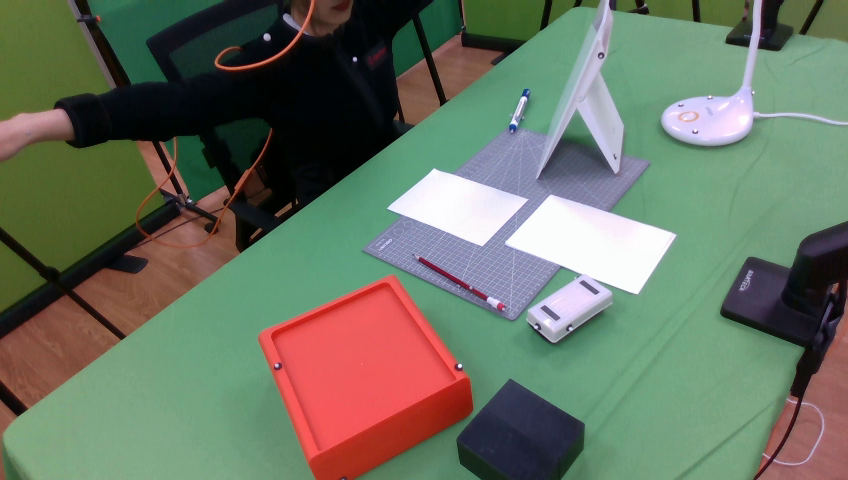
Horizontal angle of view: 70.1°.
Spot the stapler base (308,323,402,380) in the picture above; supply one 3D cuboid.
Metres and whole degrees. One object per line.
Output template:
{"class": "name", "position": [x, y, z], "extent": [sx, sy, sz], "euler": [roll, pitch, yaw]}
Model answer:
{"class": "stapler base", "position": [-0.094, 0.142, 0.812], "extent": [0.131, 0.024, 0.041], "euler": [-24, 29, -17]}

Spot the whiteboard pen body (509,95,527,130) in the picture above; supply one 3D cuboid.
{"class": "whiteboard pen body", "position": [0.199, -0.273, 1.261], "extent": [0.017, 0.017, 0.140], "euler": [7, 44, 19]}

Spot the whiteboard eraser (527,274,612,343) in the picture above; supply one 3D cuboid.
{"class": "whiteboard eraser", "position": [0.198, 0.094, 0.820], "extent": [0.113, 0.042, 0.055], "euler": [-29, 43, -22]}

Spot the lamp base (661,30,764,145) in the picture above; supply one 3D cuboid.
{"class": "lamp base", "position": [0.535, -0.287, 1.096], "extent": [0.179, 0.181, 0.159], "euler": [-10, 40, -4]}

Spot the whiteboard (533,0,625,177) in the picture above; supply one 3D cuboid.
{"class": "whiteboard", "position": [0.321, -0.258, 1.049], "extent": [0.144, 0.306, 0.217], "euler": [20, 45, 4]}

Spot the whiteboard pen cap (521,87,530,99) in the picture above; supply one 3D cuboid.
{"class": "whiteboard pen cap", "position": [0.218, -0.313, 1.301], "extent": [0.018, 0.018, 0.033], "euler": [7, 47, 18]}

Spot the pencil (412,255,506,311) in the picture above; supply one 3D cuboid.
{"class": "pencil", "position": [0.047, 0.060, 0.906], "extent": [0.012, 0.012, 0.192], "euler": [-37, 46, -29]}

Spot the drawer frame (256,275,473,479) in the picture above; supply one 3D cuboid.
{"class": "drawer frame", "position": [-0.078, 0.164, 0.756], "extent": [0.202, 0.083, 0.211], "euler": [-23, 43, -17]}

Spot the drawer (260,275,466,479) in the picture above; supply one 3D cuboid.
{"class": "drawer", "position": [-0.080, 0.163, 0.760], "extent": [0.195, 0.073, 0.210], "euler": [-22, 42, -16]}

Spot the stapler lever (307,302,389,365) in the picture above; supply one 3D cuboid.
{"class": "stapler lever", "position": [-0.101, 0.121, 0.799], "extent": [0.118, 0.040, 0.026], "euler": [-25, 30, -16]}
